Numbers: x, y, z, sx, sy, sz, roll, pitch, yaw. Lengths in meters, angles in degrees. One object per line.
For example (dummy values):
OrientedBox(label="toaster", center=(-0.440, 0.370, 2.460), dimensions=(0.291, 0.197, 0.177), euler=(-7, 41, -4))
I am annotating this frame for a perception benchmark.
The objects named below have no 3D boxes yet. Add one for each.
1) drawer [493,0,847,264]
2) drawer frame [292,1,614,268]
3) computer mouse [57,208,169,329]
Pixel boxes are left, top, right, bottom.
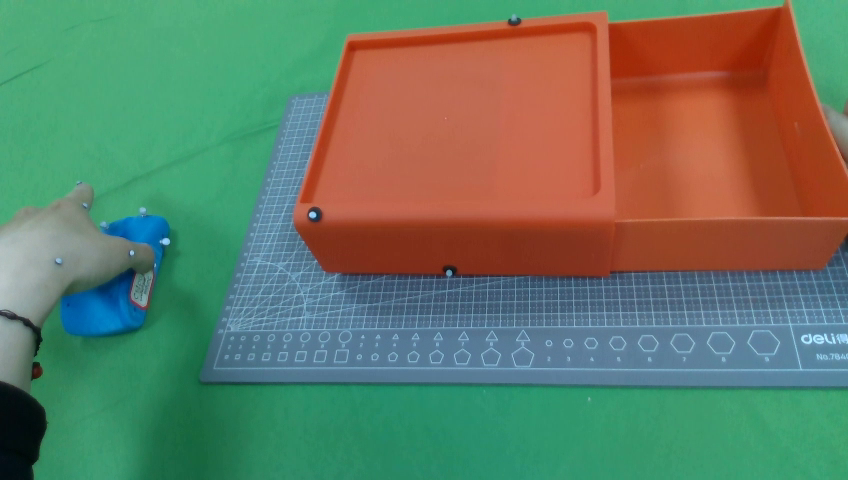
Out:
OrientedBox(label="drawer", center=(0.158, -0.079, 0.432), dimensions=(0.211, 0.074, 0.193), euler=(-1, 58, 12))
OrientedBox(label="drawer frame", center=(0.033, -0.078, 0.459), dimensions=(0.213, 0.083, 0.200), euler=(-1, 57, 14))
OrientedBox(label="computer mouse", center=(-0.258, 0.018, 0.504), dimensions=(0.062, 0.041, 0.116), euler=(-7, 52, 12))
